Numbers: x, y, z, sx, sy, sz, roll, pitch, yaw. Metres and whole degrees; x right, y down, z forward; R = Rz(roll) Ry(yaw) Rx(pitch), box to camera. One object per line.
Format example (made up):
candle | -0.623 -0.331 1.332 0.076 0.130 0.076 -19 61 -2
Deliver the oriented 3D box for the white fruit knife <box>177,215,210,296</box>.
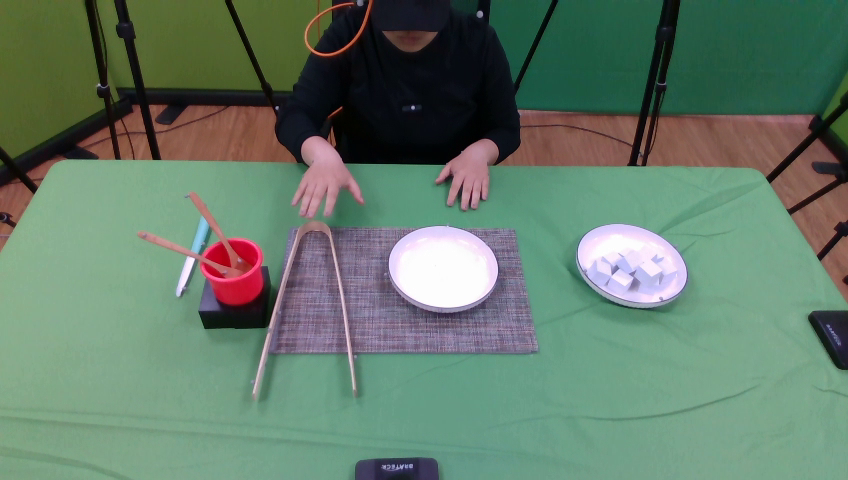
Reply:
white fruit knife | -0.435 0.025 1.148 0.027 0.016 0.206 -18 45 19

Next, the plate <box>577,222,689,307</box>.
plate | 0.396 0.050 1.165 0.209 0.038 0.208 2 47 -2

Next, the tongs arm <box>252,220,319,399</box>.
tongs arm | -0.237 0.105 1.067 0.051 0.026 0.382 2 46 0

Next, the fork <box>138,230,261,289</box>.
fork | -0.360 0.032 0.981 0.208 0.018 0.028 31 60 -30

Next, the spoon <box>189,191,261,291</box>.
spoon | -0.333 0.001 1.012 0.041 0.194 0.021 -34 15 -25

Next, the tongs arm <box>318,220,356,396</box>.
tongs arm | -0.154 0.104 1.075 0.028 0.028 0.385 -11 48 -7

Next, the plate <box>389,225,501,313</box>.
plate | 0.038 0.057 1.129 0.208 0.039 0.206 2 46 -2
